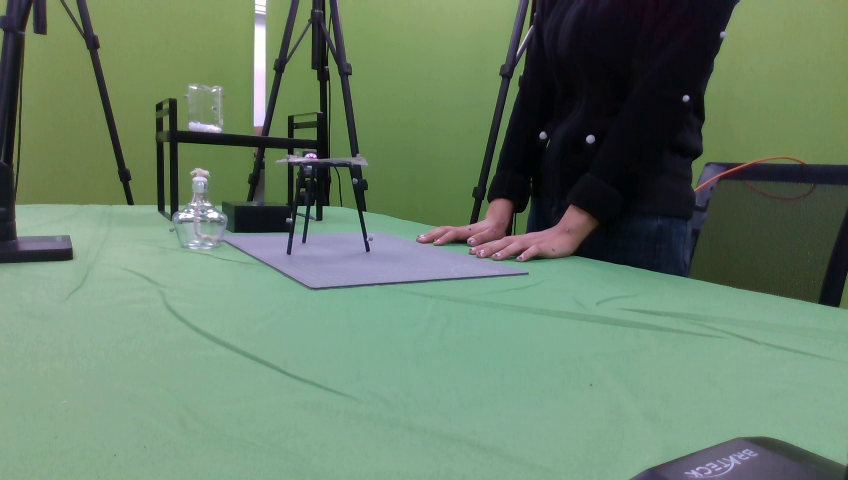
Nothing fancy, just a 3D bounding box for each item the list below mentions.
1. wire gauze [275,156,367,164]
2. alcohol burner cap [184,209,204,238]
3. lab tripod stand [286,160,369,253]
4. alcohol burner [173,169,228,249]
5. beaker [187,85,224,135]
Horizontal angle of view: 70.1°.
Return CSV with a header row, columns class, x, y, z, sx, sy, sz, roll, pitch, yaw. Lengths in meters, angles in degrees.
class,x,y,z,sx,sy,sz,roll,pitch,yaw
wire gauze,-0.148,-0.119,0.895,0.121,0.011,0.125,1,7,-3
alcohol burner cap,-0.389,-0.029,1.025,0.034,0.048,0.034,2,8,0
lab tripod stand,-0.157,-0.053,0.902,0.148,0.131,0.148,0,7,0
alcohol burner,-0.333,-0.047,0.903,0.078,0.119,0.078,1,6,0
beaker,-0.466,-0.276,1.296,0.074,0.100,0.083,-3,10,-35
